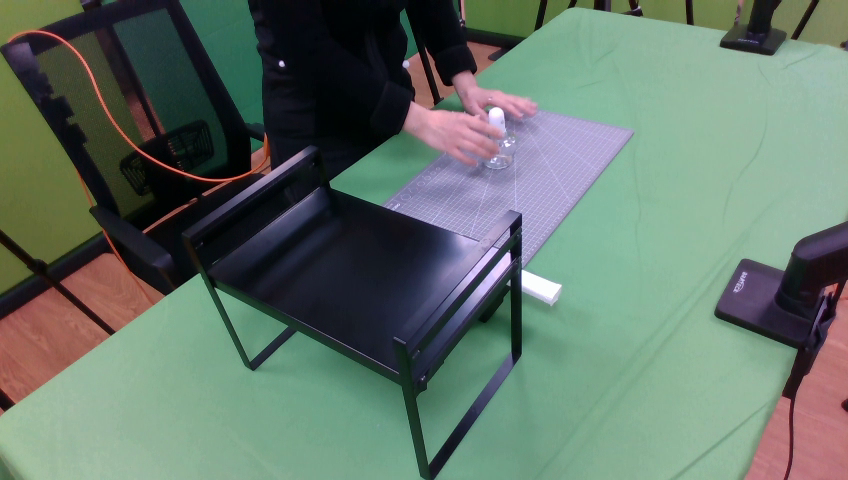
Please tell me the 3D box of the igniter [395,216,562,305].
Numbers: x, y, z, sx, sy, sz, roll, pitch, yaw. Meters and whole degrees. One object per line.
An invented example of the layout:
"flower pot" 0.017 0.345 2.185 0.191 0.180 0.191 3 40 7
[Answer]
"igniter" 0.066 0.023 0.864 0.274 0.025 0.057 24 48 28

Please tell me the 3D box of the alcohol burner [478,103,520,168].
"alcohol burner" 0.136 -0.194 1.107 0.078 0.119 0.077 -5 39 4

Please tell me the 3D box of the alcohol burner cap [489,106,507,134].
"alcohol burner cap" 0.132 -0.217 1.086 0.034 0.048 0.033 -5 38 4
